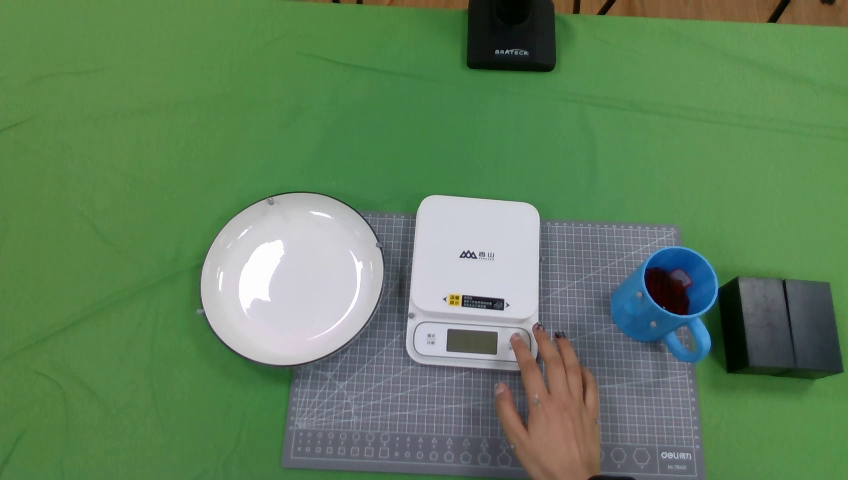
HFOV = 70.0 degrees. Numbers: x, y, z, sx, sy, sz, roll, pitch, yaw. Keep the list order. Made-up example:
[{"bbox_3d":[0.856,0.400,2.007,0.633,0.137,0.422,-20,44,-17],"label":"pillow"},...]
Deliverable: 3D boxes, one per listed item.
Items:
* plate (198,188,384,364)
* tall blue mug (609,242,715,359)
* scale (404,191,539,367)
[{"bbox_3d":[-0.149,0.041,0.696,0.209,0.038,0.207,0,70,1],"label":"plate"},{"bbox_3d":[0.265,0.066,0.654,0.106,0.108,0.077,38,73,13],"label":"tall blue mug"},{"bbox_3d":[0.057,0.042,0.701,0.149,0.032,0.199,4,70,1],"label":"scale"}]
